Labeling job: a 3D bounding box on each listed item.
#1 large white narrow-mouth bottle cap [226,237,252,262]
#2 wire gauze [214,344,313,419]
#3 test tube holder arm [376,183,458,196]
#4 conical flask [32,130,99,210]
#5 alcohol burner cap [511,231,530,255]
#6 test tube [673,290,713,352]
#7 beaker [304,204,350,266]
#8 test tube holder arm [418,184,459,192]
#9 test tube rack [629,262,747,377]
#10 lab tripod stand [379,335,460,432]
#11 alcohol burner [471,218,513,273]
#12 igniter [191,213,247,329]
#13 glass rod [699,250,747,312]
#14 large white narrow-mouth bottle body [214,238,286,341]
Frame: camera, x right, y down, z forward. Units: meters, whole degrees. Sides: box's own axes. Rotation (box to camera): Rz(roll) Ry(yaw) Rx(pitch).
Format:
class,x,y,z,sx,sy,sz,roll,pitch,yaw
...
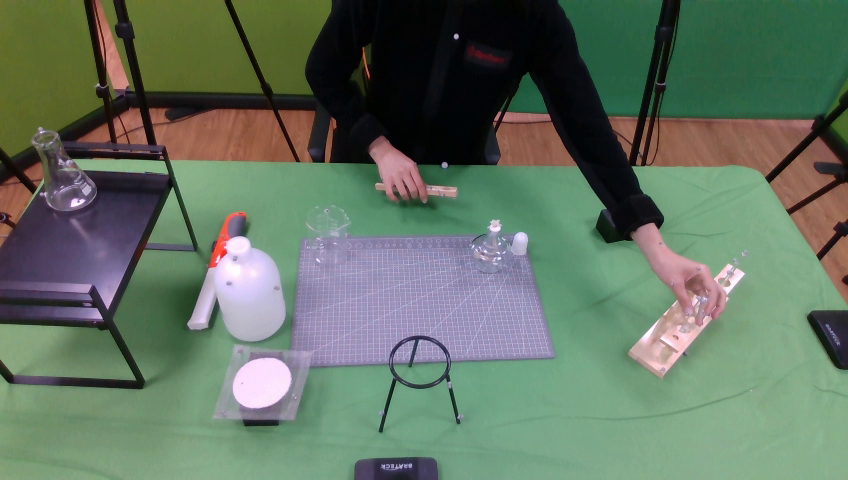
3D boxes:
class,x,y,z,sx,sy,sz,roll,pitch,yaw
large white narrow-mouth bottle cap,-0.282,0.015,0.923,0.038,0.024,0.037,2,46,-2
wire gauze,-0.241,0.213,0.915,0.121,0.011,0.124,5,46,1
test tube holder arm,-0.017,-0.104,1.242,0.178,0.015,0.013,6,35,19
conical flask,-0.565,-0.111,0.944,0.075,0.122,0.075,2,46,-2
alcohol burner cap,0.191,0.002,1.188,0.034,0.048,0.033,3,48,-3
test tube,0.429,0.134,0.979,0.017,0.151,0.017,3,44,-3
beaker,-0.178,-0.006,1.132,0.084,0.101,0.073,4,46,-1
test tube holder arm,0.027,-0.103,1.232,0.087,0.015,0.010,5,35,18
test tube rack,0.464,0.126,1.060,0.242,0.085,0.066,-34,56,-30
lab tripod stand,-0.011,0.214,0.911,0.148,0.132,0.147,1,45,0
alcohol burner,0.128,0.005,1.132,0.078,0.120,0.077,0,47,0
igniter,-0.376,0.047,1.121,0.057,0.025,0.275,-4,46,6
glass rod,0.500,0.074,1.021,0.008,0.201,0.008,0,55,0
large white narrow-mouth bottle body,-0.285,0.073,0.986,0.102,0.195,0.101,2,46,-2
